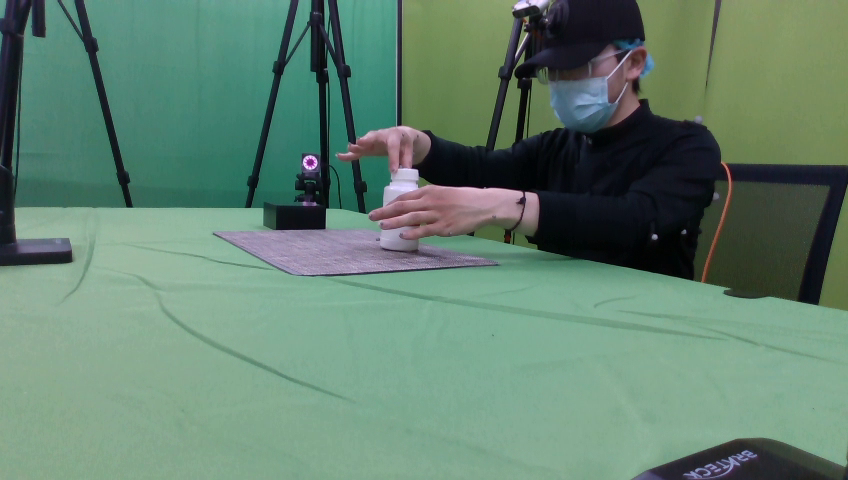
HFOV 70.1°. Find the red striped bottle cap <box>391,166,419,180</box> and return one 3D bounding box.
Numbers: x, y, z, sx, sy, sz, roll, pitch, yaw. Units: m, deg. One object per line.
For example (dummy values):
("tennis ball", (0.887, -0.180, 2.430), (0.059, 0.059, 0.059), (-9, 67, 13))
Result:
("red striped bottle cap", (-0.030, -0.105, 0.950), (0.044, 0.017, 0.044), (-7, 2, 1))

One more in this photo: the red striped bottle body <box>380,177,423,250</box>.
("red striped bottle body", (-0.035, -0.047, 0.959), (0.063, 0.119, 0.063), (4, 7, 0))
